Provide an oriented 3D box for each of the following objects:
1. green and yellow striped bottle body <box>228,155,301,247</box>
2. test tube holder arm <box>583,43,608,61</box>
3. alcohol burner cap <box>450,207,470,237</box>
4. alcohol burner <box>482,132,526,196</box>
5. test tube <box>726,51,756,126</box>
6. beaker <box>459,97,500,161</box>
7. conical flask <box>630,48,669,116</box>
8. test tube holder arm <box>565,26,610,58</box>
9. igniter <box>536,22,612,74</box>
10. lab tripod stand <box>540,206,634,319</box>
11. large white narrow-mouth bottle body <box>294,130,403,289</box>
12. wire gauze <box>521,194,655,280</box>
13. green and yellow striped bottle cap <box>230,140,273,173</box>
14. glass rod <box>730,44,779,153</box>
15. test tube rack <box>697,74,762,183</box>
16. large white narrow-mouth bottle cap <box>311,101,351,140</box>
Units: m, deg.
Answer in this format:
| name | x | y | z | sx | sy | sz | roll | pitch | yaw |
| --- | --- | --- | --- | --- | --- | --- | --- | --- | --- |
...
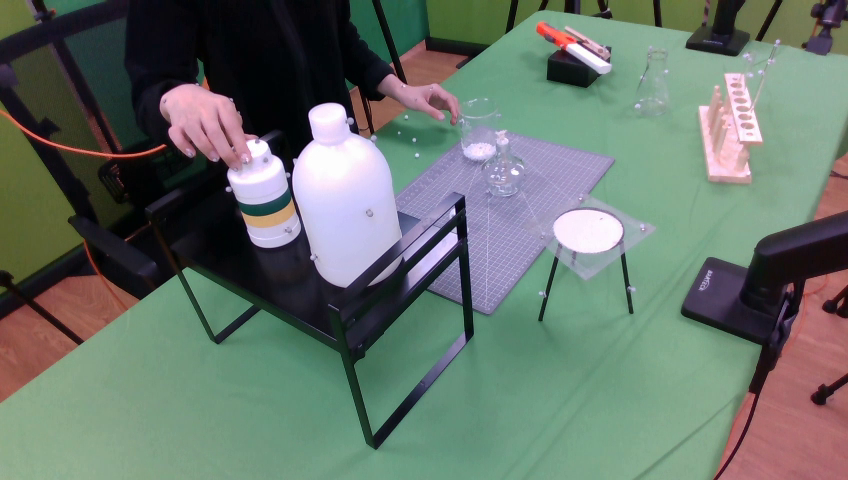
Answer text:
| name | x | y | z | sx | sy | sz | roll | pitch | yaw |
| --- | --- | --- | --- | --- | --- | --- | --- | --- | --- |
| green and yellow striped bottle body | -0.190 | -0.055 | 0.714 | 0.063 | 0.120 | 0.063 | -4 | 39 | 4 |
| test tube holder arm | 0.379 | -0.420 | 1.341 | 0.010 | 0.015 | 0.087 | -39 | 41 | 10 |
| alcohol burner cap | 0.057 | -0.032 | 0.987 | 0.034 | 0.048 | 0.033 | -4 | 41 | 4 |
| alcohol burner | 0.137 | -0.136 | 1.042 | 0.078 | 0.119 | 0.077 | -4 | 43 | 4 |
| test tube | 0.568 | -0.268 | 1.086 | 0.017 | 0.151 | 0.017 | -4 | 46 | 4 |
| beaker | 0.104 | -0.209 | 1.142 | 0.074 | 0.101 | 0.083 | -20 | 42 | -15 |
| conical flask | 0.456 | -0.317 | 1.205 | 0.075 | 0.122 | 0.075 | -4 | 41 | 4 |
| test tube holder arm | 0.369 | -0.450 | 1.373 | 0.013 | 0.015 | 0.177 | -39 | 41 | 10 |
| igniter | 0.330 | -0.439 | 1.366 | 0.057 | 0.025 | 0.274 | -11 | 41 | -20 |
| lab tripod stand | 0.218 | 0.034 | 0.821 | 0.148 | 0.132 | 0.147 | -4 | 42 | 4 |
| large white narrow-mouth bottle body | -0.082 | -0.047 | 0.634 | 0.102 | 0.195 | 0.101 | -4 | 40 | 4 |
| wire gauze | 0.207 | -0.012 | 0.772 | 0.122 | 0.011 | 0.124 | -28 | 44 | -20 |
| green and yellow striped bottle cap | -0.194 | -0.095 | 0.680 | 0.045 | 0.020 | 0.045 | -3 | 37 | 3 |
| glass rod | 0.555 | -0.233 | 1.020 | 0.008 | 0.200 | 0.008 | 2 | 39 | -1 |
| test tube rack | 0.547 | -0.208 | 1.095 | 0.066 | 0.085 | 0.242 | 5 | 42 | 15 |
| large white narrow-mouth bottle cap | -0.089 | -0.114 | 0.578 | 0.038 | 0.024 | 0.037 | -4 | 39 | 3 |
